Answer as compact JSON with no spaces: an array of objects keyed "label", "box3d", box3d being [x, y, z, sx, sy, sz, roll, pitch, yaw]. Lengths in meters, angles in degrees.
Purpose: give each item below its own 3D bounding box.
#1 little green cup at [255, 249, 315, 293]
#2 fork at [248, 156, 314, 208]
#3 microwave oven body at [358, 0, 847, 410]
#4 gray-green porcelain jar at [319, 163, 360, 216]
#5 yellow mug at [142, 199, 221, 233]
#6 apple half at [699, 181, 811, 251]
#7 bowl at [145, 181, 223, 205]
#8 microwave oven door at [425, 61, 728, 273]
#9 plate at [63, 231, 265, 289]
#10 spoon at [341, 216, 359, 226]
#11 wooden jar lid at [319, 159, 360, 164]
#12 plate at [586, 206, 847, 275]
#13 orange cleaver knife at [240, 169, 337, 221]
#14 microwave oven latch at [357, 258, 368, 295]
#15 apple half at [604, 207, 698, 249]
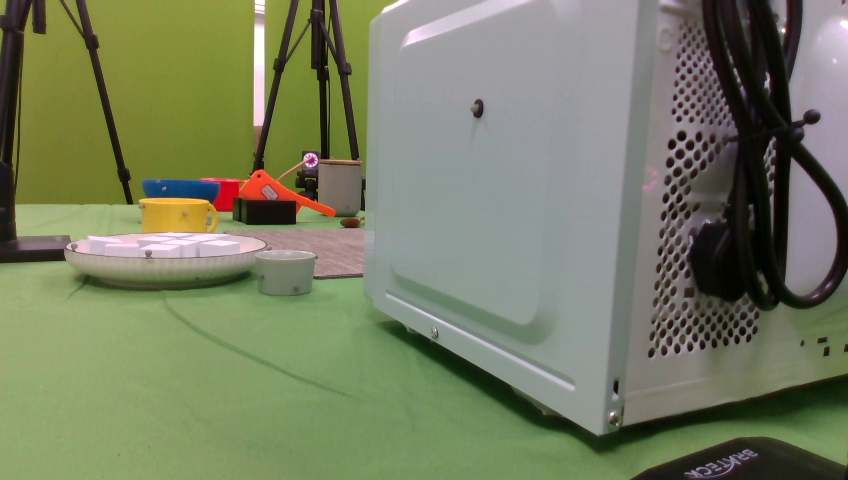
[{"label":"little green cup","box3d":[-0.144,0.031,0.627,0.061,0.038,0.061,2,6,0]},{"label":"fork","box3d":[-0.360,-0.147,1.523,0.207,0.019,0.028,-43,19,-6]},{"label":"microwave oven body","box3d":[0.210,-0.051,0.472,0.444,0.260,0.324,-1,7,-28]},{"label":"gray-green porcelain jar","box3d":[-0.205,-0.126,1.490,0.106,0.126,0.106,1,8,0]},{"label":"yellow mug","box3d":[-0.373,-0.030,0.948,0.099,0.064,0.131,6,7,30]},{"label":"apple half","box3d":[0.280,-0.021,0.511,0.075,0.053,0.080,11,-10,-18]},{"label":"bowl","box3d":[-0.499,-0.082,1.261,0.151,0.077,0.151,2,8,0]},{"label":"microwave oven door","box3d":[0.175,-0.094,0.759,0.355,0.243,0.039,4,8,21]},{"label":"plate","box3d":[-0.288,0.021,0.687,0.208,0.039,0.207,2,8,0]},{"label":"spoon","box3d":[-0.132,-0.048,1.305,0.041,0.021,0.194,-15,4,14]},{"label":"wooden jar lid","box3d":[-0.203,-0.189,1.482,0.108,0.020,0.108,2,10,0]},{"label":"plate","box3d":[0.245,-0.002,0.516,0.209,0.038,0.209,2,8,0]},{"label":"orange cleaver knife","box3d":[-0.287,-0.082,1.299,0.212,0.077,0.012,25,-2,-31]},{"label":"microwave oven latch","box3d":[-0.019,0.031,0.529,0.079,0.029,0.030,-1,7,-26]},{"label":"apple half","box3d":[0.207,-0.013,0.543,0.081,0.033,0.081,4,10,0]}]
